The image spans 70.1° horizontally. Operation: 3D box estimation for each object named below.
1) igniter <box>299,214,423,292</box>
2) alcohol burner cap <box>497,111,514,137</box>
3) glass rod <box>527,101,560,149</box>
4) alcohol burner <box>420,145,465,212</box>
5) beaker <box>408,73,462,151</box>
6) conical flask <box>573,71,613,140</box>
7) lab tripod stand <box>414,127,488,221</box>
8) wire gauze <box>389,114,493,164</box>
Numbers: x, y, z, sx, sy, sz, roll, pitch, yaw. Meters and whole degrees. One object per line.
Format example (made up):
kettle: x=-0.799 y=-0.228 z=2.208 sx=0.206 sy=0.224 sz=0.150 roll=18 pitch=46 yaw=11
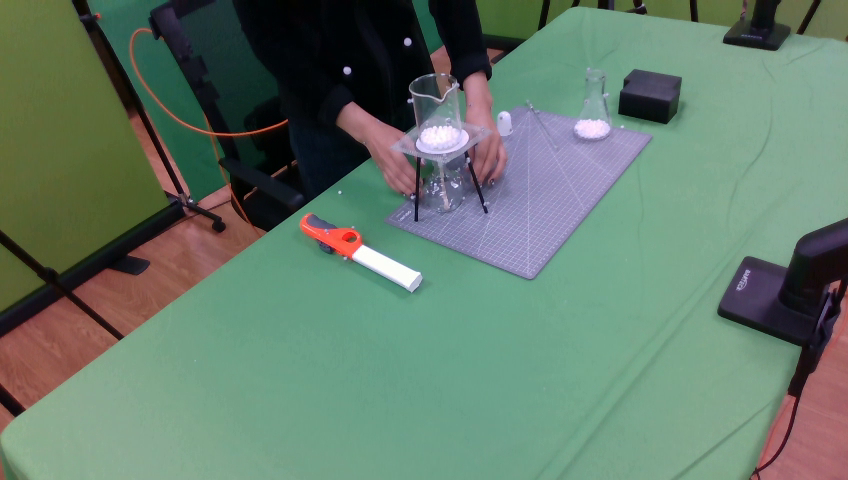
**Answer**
igniter: x=-0.112 y=0.016 z=0.983 sx=0.274 sy=0.025 sz=0.057 roll=26 pitch=62 yaw=35
alcohol burner cap: x=0.163 y=-0.235 z=1.211 sx=0.034 sy=0.048 sz=0.033 roll=-6 pitch=40 yaw=5
glass rod: x=0.240 y=-0.236 z=1.223 sx=0.008 sy=0.008 sz=0.198 roll=-12 pitch=40 yaw=-2
alcohol burner: x=0.031 y=-0.108 z=1.030 sx=0.078 sy=0.119 sz=0.077 roll=-5 pitch=38 yaw=4
beaker: x=0.021 y=-0.196 z=0.943 sx=0.074 sy=0.101 sz=0.083 roll=-17 pitch=40 yaw=-7
conical flask: x=0.321 y=-0.256 z=1.142 sx=0.075 sy=0.122 sz=0.075 roll=-5 pitch=40 yaw=5
lab tripod stand: x=0.035 y=-0.114 z=1.021 sx=0.148 sy=0.132 sz=0.147 roll=-7 pitch=39 yaw=6
wire gauze: x=0.027 y=-0.163 z=0.978 sx=0.120 sy=0.011 sz=0.125 roll=22 pitch=50 yaw=36
